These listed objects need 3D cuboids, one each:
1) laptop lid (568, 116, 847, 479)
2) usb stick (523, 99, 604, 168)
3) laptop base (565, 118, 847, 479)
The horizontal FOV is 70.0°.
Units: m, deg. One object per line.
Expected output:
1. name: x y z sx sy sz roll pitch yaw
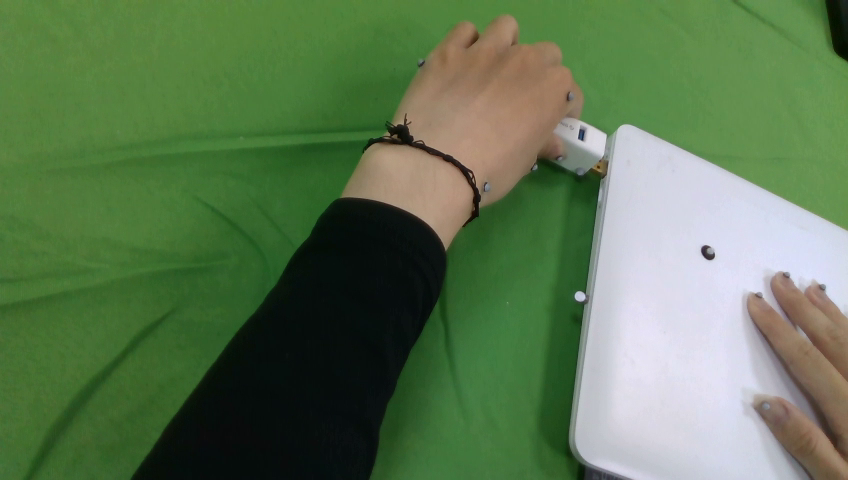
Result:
1. laptop lid: 0.261 0.075 0.394 0.358 0.013 0.240 24 61 -10
2. usb stick: 0.096 -0.066 0.393 0.059 0.027 0.021 24 59 -15
3. laptop base: 0.258 0.078 0.405 0.356 0.023 0.234 22 62 -11
